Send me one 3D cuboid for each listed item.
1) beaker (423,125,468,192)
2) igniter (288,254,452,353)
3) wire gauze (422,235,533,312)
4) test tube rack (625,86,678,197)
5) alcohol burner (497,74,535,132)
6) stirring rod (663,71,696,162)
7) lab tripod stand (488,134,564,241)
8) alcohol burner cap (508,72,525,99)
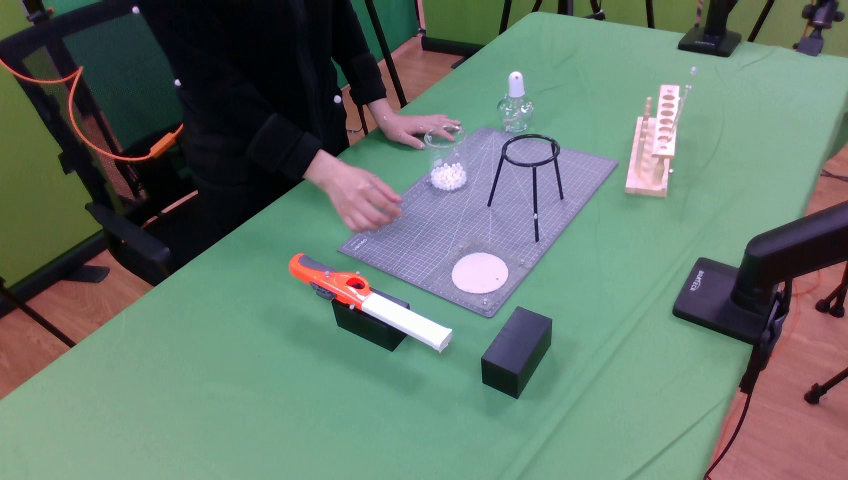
[{"bbox_3d":[0.042,-0.144,1.078,0.073,0.100,0.084,28,51,33],"label":"beaker"},{"bbox_3d":[-0.083,0.079,0.818,0.274,0.025,0.057,23,46,27],"label":"igniter"},{"bbox_3d":[0.082,0.049,0.914,0.120,0.011,0.125,26,52,32],"label":"wire gauze"},{"bbox_3d":[0.412,-0.184,1.088,0.066,0.085,0.242,9,43,18],"label":"test tube rack"},{"bbox_3d":[0.184,-0.278,1.210,0.078,0.119,0.077,-3,42,3],"label":"alcohol burner"},{"bbox_3d":[0.410,-0.195,0.981,0.014,0.177,0.006,11,50,13],"label":"stirring rod"},{"bbox_3d":[0.168,-0.092,0.972,0.148,0.132,0.147,-5,41,5],"label":"lab tripod stand"},{"bbox_3d":[0.181,-0.306,1.186,0.034,0.048,0.033,-7,39,6],"label":"alcohol burner cap"}]
